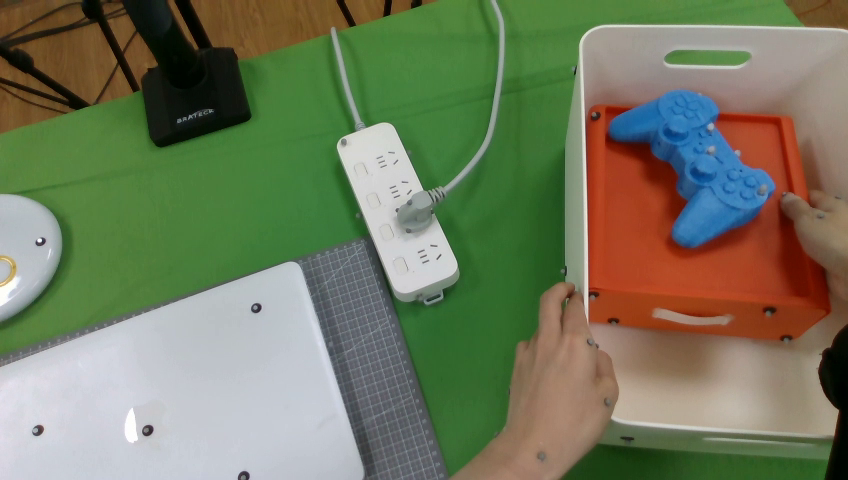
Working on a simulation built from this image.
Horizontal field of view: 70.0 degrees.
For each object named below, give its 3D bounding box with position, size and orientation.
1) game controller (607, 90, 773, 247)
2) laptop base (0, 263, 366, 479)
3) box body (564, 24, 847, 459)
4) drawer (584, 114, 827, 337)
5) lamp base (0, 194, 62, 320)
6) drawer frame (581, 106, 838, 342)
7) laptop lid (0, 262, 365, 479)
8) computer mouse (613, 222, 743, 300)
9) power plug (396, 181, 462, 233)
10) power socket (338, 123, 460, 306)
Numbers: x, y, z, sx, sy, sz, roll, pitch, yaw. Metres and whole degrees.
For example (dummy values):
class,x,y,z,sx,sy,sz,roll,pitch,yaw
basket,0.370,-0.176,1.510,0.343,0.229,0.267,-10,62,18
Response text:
class,x,y,z,sx,sy,sz,roll,pitch,yaw
game controller,0.245,-0.074,0.556,0.097,0.052,0.153,-15,60,-9
laptop base,-0.254,0.181,0.579,0.354,0.023,0.233,-21,68,-6
box body,0.258,0.001,0.545,0.254,0.161,0.361,3,65,5
drawer,0.252,-0.019,0.582,0.194,0.074,0.210,4,60,10
lamp base,-0.497,-0.019,0.603,0.178,0.182,0.160,27,69,19
drawer frame,0.252,-0.022,0.581,0.201,0.083,0.212,3,58,8
laptop lid,-0.254,0.178,0.567,0.357,0.013,0.239,-19,67,-5
computer mouse,0.243,0.016,0.580,0.117,0.041,0.062,10,64,15
power plug,0.007,-0.028,0.625,0.072,0.053,0.035,-11,63,-2
power socket,-0.031,-0.034,0.657,0.072,0.033,0.224,-21,65,-7
